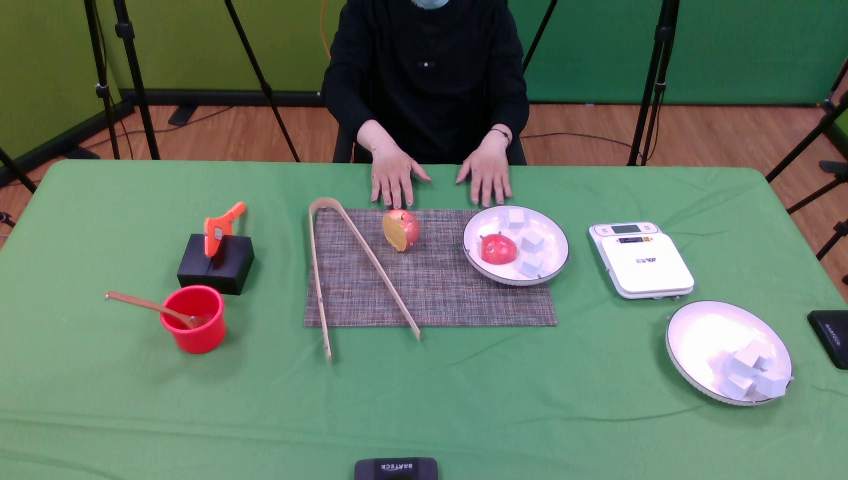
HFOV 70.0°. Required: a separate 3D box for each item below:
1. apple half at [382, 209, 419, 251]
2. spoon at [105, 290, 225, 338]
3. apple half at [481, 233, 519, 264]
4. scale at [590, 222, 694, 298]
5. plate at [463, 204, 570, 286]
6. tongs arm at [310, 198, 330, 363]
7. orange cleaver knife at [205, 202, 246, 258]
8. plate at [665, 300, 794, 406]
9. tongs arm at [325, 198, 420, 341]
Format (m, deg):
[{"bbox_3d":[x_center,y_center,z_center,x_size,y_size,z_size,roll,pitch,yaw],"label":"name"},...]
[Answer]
[{"bbox_3d":[-0.039,-0.022,1.175,0.053,0.075,0.080,-27,49,-31],"label":"apple half"},{"bbox_3d":[-0.411,0.115,0.971,0.195,0.021,0.041,32,36,-37],"label":"spoon"},{"bbox_3d":[0.147,0.010,1.174,0.081,0.033,0.081,0,46,1],"label":"apple half"},{"bbox_3d":[0.424,0.031,1.189,0.149,0.032,0.199,-3,46,-7],"label":"scale"},{"bbox_3d":[0.177,0.013,1.180,0.209,0.038,0.208,2,46,-2],"label":"plate"},{"bbox_3d":[-0.180,0.058,1.117,0.051,0.026,0.382,-9,47,-11],"label":"tongs arm"},{"bbox_3d":[-0.375,-0.024,1.151,0.012,0.077,0.210,0,16,2],"label":"orange cleaver knife"},{"bbox_3d":[0.513,0.194,1.034,0.208,0.039,0.206,2,46,-2],"label":"plate"},{"bbox_3d":[-0.101,0.043,1.140,0.028,0.028,0.385,-22,51,-18],"label":"tongs arm"}]
